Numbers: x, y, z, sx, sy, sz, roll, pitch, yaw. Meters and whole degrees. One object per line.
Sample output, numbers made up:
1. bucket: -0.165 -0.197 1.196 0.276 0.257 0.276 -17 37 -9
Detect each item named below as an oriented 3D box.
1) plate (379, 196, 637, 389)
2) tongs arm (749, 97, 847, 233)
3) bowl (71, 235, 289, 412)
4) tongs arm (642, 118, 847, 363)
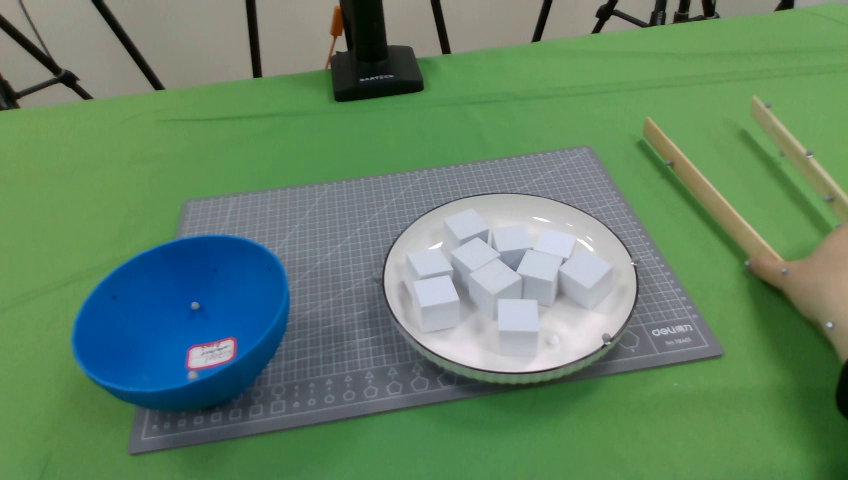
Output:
1. plate: 0.068 0.040 0.505 0.207 0.039 0.205 -2 42 2
2. tongs arm: 0.362 -0.017 0.542 0.051 0.027 0.380 -8 43 1
3. bowl: -0.170 0.074 0.458 0.151 0.077 0.150 -2 42 2
4. tongs arm: 0.296 -0.004 0.542 0.028 0.028 0.383 -12 43 -8
